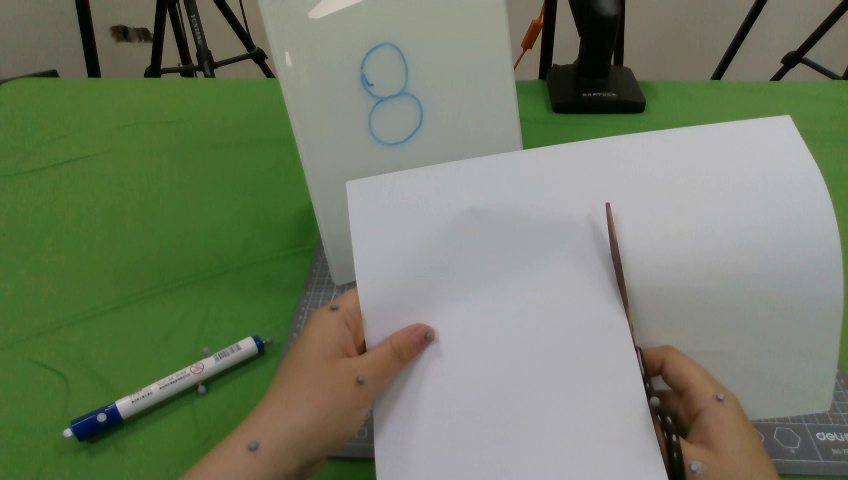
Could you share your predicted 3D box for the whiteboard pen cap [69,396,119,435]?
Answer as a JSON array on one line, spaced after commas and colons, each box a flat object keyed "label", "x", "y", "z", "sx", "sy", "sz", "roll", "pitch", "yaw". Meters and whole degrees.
[{"label": "whiteboard pen cap", "x": -0.240, "y": 0.127, "z": 0.444, "sx": 0.033, "sy": 0.018, "sz": 0.018, "roll": -26, "pitch": 46, "yaw": -28}]

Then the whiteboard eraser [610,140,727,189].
[{"label": "whiteboard eraser", "x": 0.267, "y": -0.083, "z": 0.665, "sx": 0.113, "sy": 0.042, "sz": 0.055, "roll": 0, "pitch": 43, "yaw": 0}]

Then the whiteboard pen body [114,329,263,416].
[{"label": "whiteboard pen body", "x": -0.192, "y": 0.106, "z": 0.471, "sx": 0.141, "sy": 0.017, "sz": 0.017, "roll": -26, "pitch": 46, "yaw": -28}]

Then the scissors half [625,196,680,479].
[{"label": "scissors half", "x": 0.127, "y": 0.057, "z": 0.349, "sx": 0.013, "sy": 0.040, "sz": 0.174, "roll": 4, "pitch": 72, "yaw": -11}]

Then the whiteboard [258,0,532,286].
[{"label": "whiteboard", "x": -0.038, "y": -0.147, "z": 0.593, "sx": 0.217, "sy": 0.307, "sz": 0.142, "roll": -18, "pitch": 23, "yaw": -17}]

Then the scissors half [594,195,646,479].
[{"label": "scissors half", "x": 0.122, "y": 0.060, "z": 0.369, "sx": 0.013, "sy": 0.175, "sz": 0.040, "roll": 5, "pitch": 2, "yaw": -16}]
